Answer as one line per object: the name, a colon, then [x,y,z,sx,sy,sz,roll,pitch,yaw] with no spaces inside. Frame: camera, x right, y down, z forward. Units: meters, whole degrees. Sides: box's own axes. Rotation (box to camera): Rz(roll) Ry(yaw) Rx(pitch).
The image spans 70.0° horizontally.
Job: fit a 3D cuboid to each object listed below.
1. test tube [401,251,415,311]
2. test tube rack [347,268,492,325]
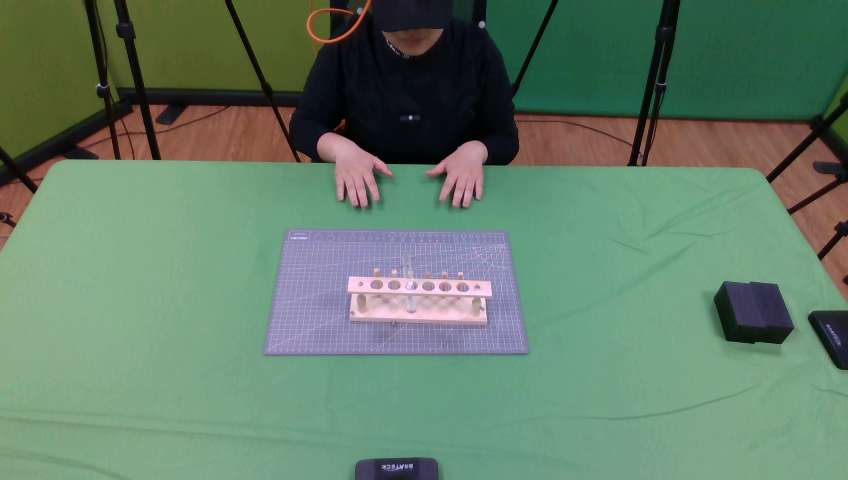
test tube: [-0.026,0.072,1.011,0.017,0.151,0.017,-1,48,2]
test tube rack: [-0.009,0.095,1.059,0.242,0.085,0.066,2,46,-2]
